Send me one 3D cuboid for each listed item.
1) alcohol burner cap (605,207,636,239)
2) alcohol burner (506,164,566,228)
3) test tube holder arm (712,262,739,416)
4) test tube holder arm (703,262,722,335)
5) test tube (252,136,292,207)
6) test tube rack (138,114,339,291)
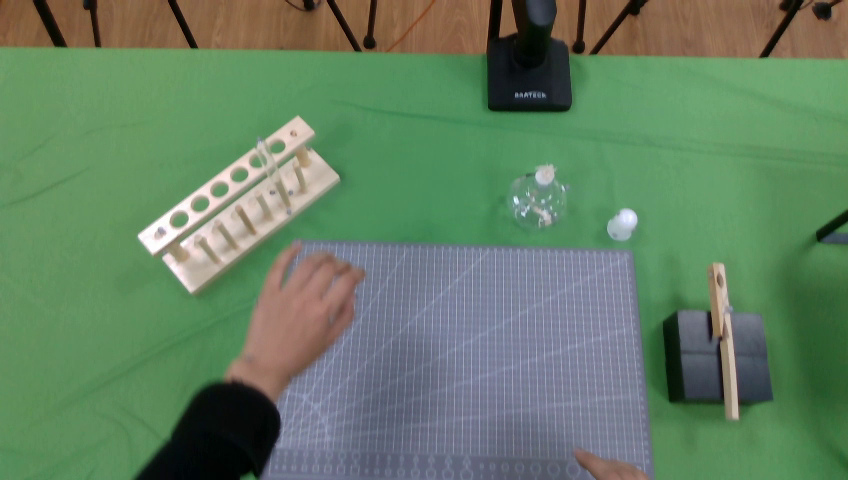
[{"bbox_3d":[0.259,-0.024,0.790,0.034,0.048,0.033,0,68,0],"label":"alcohol burner cap"},{"bbox_3d":[0.145,-0.062,0.766,0.078,0.120,0.077,1,67,-1],"label":"alcohol burner"},{"bbox_3d":[0.345,0.111,0.699,0.013,0.015,0.177,3,69,-6],"label":"test tube holder arm"},{"bbox_3d":[0.341,0.068,0.714,0.010,0.015,0.087,5,69,-5],"label":"test tube holder arm"},{"bbox_3d":[-0.184,-0.080,0.739,0.017,0.151,0.017,0,66,0],"label":"test tube"},{"bbox_3d":[-0.228,-0.048,0.775,0.242,0.086,0.066,-41,73,-14],"label":"test tube rack"}]
